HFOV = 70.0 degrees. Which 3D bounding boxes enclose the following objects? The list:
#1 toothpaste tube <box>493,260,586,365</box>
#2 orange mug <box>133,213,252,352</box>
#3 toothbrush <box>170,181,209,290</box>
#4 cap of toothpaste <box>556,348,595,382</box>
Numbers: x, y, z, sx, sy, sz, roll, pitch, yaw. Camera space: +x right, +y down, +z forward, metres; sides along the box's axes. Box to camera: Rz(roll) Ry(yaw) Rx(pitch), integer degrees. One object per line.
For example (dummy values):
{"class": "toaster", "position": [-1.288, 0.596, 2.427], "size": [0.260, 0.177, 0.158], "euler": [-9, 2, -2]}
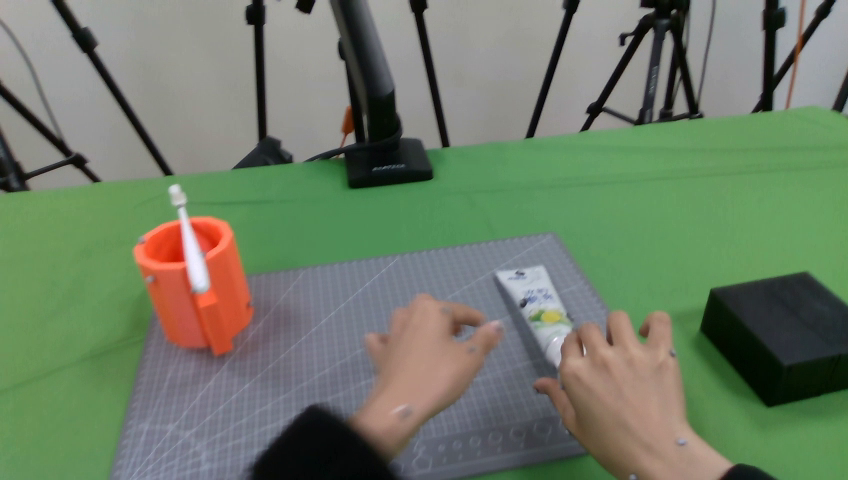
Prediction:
{"class": "toothpaste tube", "position": [0.115, 0.065, 0.581], "size": [0.055, 0.035, 0.163], "euler": [-3, 31, -10]}
{"class": "orange mug", "position": [-0.210, 0.044, 0.568], "size": [0.083, 0.101, 0.125], "euler": [-19, 34, -23]}
{"class": "toothbrush", "position": [-0.216, -0.009, 0.553], "size": [0.014, 0.017, 0.180], "euler": [-13, 36, -21]}
{"class": "cap of toothpaste", "position": [0.127, 0.104, 0.513], "size": [0.037, 0.037, 0.011], "euler": [-12, 36, -13]}
